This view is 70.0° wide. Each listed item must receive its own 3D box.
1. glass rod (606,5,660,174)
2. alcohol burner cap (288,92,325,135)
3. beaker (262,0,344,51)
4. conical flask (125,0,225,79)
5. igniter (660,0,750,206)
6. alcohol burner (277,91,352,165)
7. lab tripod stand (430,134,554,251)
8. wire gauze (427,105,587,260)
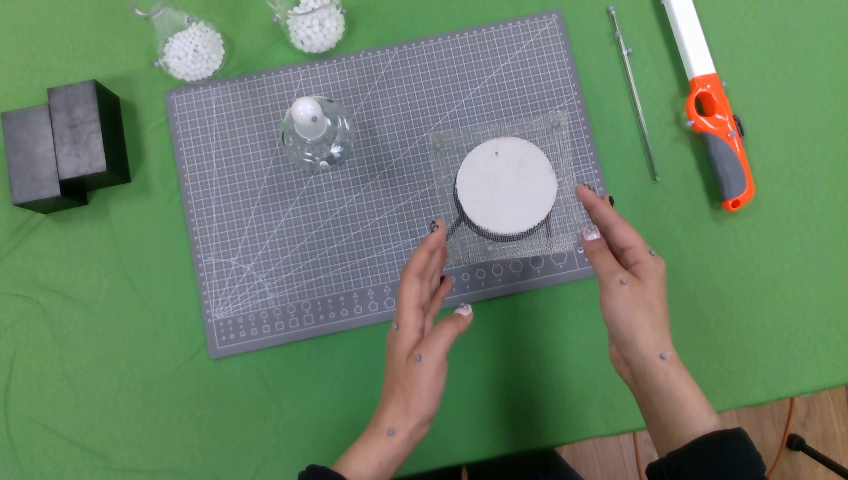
[{"bbox_3d":[0.230,-0.167,0.667,0.008,0.008,0.199,-13,83,-2],"label":"glass rod"},{"bbox_3d":[-0.112,-0.122,0.573,0.034,0.048,0.034,1,82,-5],"label":"alcohol burner cap"},{"bbox_3d":[-0.123,-0.249,0.634,0.084,0.100,0.074,24,84,3],"label":"beaker"},{"bbox_3d":[-0.259,-0.221,0.619,0.075,0.122,0.075,0,83,0],"label":"conical flask"},{"bbox_3d":[0.301,-0.172,0.658,0.057,0.025,0.275,-13,84,-12],"label":"igniter"},{"bbox_3d":[-0.113,-0.117,0.608,0.078,0.119,0.077,0,84,-1],"label":"alcohol burner"},{"bbox_3d":[0.067,-0.037,0.588,0.148,0.132,0.148,0,85,1],"label":"lab tripod stand"},{"bbox_3d":[0.070,-0.049,0.522,0.125,0.011,0.121,-8,85,1],"label":"wire gauze"}]
